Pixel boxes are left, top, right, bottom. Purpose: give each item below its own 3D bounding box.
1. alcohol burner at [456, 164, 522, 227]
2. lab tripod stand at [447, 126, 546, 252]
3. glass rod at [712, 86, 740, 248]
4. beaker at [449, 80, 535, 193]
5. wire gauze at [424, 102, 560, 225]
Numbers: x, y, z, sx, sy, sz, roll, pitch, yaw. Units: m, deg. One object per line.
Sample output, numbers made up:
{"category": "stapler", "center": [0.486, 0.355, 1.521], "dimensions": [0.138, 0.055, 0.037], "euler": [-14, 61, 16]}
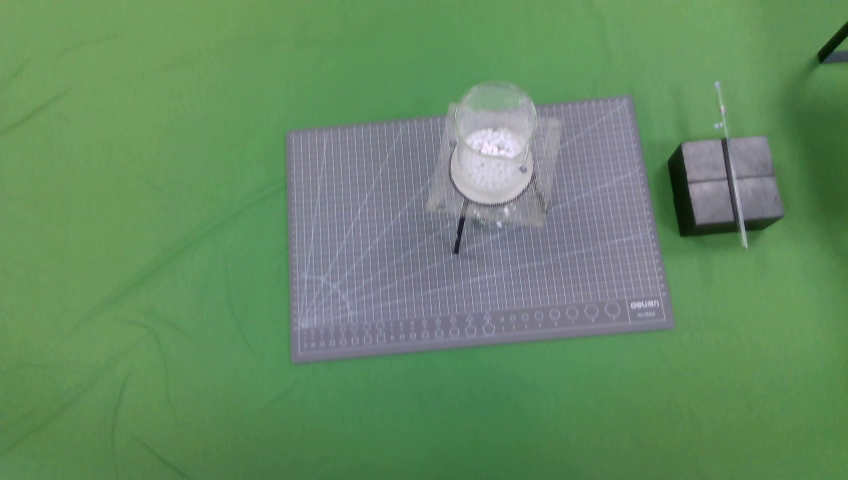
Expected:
{"category": "alcohol burner", "center": [0.075, -0.057, 0.698], "dimensions": [0.078, 0.120, 0.077], "euler": [-1, 75, 5]}
{"category": "lab tripod stand", "center": [0.070, -0.063, 0.690], "dimensions": [0.148, 0.132, 0.147], "euler": [-1, 74, 5]}
{"category": "glass rod", "center": [0.349, -0.087, 0.700], "dimensions": [0.008, 0.008, 0.198], "euler": [-2, 75, 3]}
{"category": "beaker", "center": [0.066, -0.091, 0.579], "dimensions": [0.074, 0.101, 0.083], "euler": [-32, 75, -5]}
{"category": "wire gauze", "center": [0.072, -0.080, 0.626], "dimensions": [0.121, 0.011, 0.124], "euler": [11, 73, 5]}
